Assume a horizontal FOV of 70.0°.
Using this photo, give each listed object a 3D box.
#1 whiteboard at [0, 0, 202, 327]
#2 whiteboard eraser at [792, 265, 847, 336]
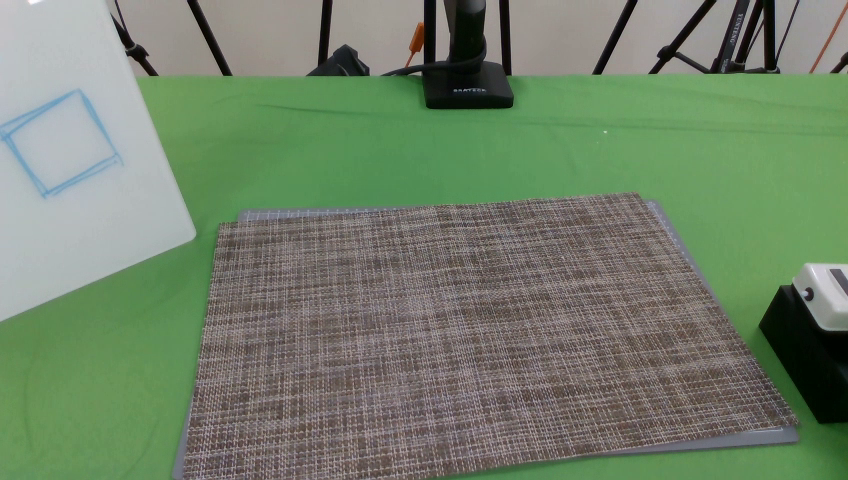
[{"bbox_3d":[-0.371,-0.106,0.529,0.217,0.308,0.142,-28,30,-29],"label":"whiteboard"},{"bbox_3d":[0.347,0.048,0.462,0.113,0.042,0.055,1,39,-1],"label":"whiteboard eraser"}]
